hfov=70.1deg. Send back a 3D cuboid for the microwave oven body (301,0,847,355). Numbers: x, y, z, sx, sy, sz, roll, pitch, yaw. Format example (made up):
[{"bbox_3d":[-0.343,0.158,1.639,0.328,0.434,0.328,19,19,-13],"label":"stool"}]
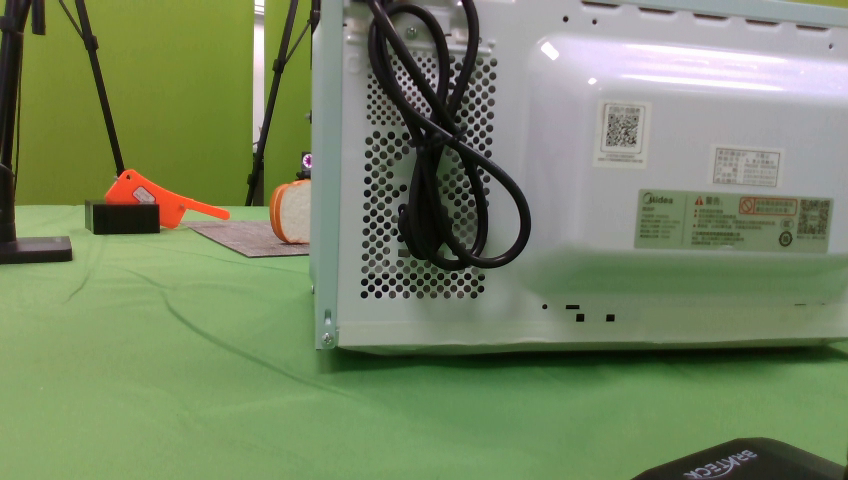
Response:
[{"bbox_3d":[0.120,-0.053,0.535,0.443,0.260,0.325,2,7,-11],"label":"microwave oven body"}]

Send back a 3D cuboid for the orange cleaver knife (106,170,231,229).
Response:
[{"bbox_3d":[-0.458,-0.060,1.097,0.212,0.077,0.012,23,-4,-38],"label":"orange cleaver knife"}]

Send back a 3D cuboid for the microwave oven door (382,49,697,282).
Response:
[{"bbox_3d":[0.135,-0.077,0.685,0.357,0.243,0.039,1,8,-12],"label":"microwave oven door"}]

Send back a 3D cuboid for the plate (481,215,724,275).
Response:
[{"bbox_3d":[0.155,0.002,0.545,0.208,0.039,0.207,-1,6,0],"label":"plate"}]

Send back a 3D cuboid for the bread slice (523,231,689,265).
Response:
[{"bbox_3d":[0.174,0.006,0.565,0.134,0.018,0.107,-5,4,29],"label":"bread slice"}]

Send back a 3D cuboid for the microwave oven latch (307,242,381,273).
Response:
[{"bbox_3d":[-0.086,0.019,0.656,0.079,0.029,0.030,2,7,-11],"label":"microwave oven latch"}]
